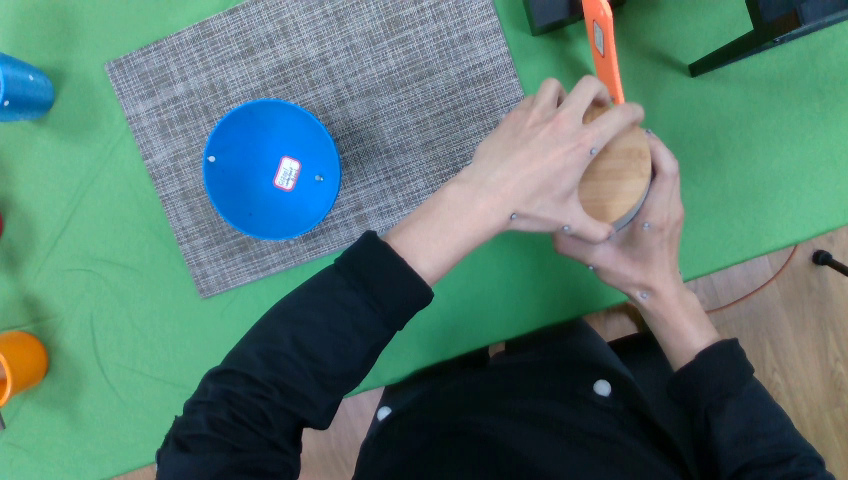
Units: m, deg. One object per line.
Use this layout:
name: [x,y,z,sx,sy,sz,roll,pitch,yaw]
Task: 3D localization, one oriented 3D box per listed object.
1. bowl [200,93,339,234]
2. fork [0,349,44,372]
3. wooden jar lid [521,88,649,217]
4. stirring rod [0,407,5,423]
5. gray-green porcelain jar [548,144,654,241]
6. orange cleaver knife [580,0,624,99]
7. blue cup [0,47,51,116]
bowl: [-0.162,-0.085,0.680,0.151,0.076,0.151,1,99,5]
fork: [-0.573,0.158,0.717,0.208,0.018,0.028,-7,109,-38]
wooden jar lid: [0.136,-0.072,0.513,0.108,0.021,0.108,-1,89,32]
stirring rod: [-0.527,0.133,0.708,0.014,0.006,0.176,-15,97,4]
gray-green porcelain jar: [0.165,-0.058,0.582,0.105,0.127,0.105,-4,78,21]
orange cleaver knife: [0.193,-0.176,0.638,0.012,0.076,0.213,-24,125,4]
blue cup: [-0.483,-0.180,0.685,0.092,0.100,0.093,0,99,3]
